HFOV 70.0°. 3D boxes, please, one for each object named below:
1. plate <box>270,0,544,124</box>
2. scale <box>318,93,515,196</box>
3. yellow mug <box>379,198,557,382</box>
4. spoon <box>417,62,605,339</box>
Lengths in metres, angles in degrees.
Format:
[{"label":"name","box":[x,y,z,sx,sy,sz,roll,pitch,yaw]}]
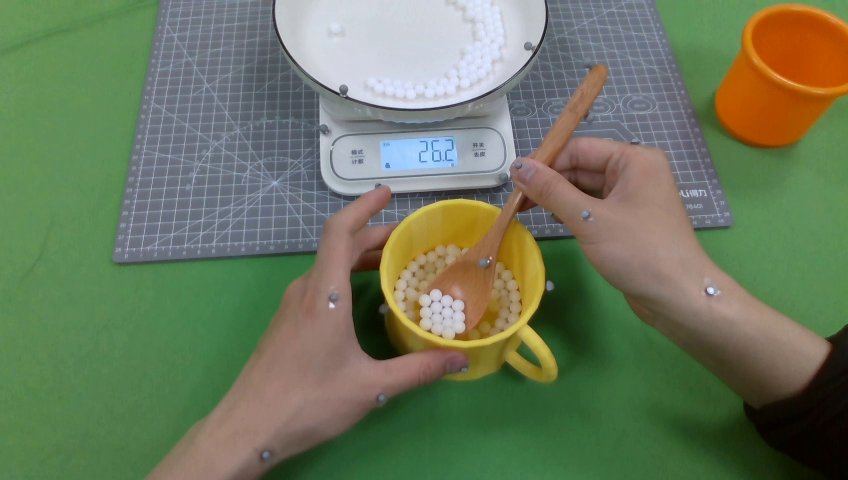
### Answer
[{"label":"plate","box":[-0.013,-0.170,0.473,0.209,0.038,0.207,1,62,-2]},{"label":"scale","box":[-0.011,-0.129,0.488,0.149,0.032,0.199,-4,63,-3]},{"label":"yellow mug","box":[0.033,0.041,0.384,0.130,0.064,0.100,42,69,17]},{"label":"spoon","box":[0.055,-0.023,0.370,0.041,0.022,0.194,36,101,22]}]
